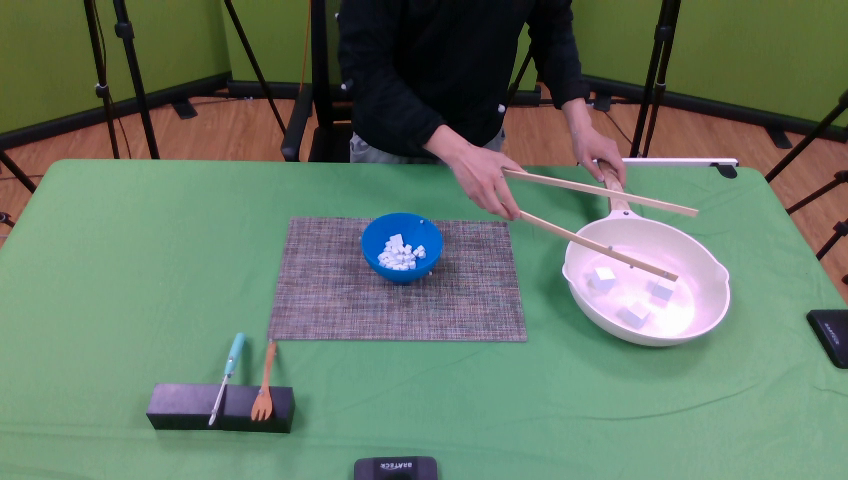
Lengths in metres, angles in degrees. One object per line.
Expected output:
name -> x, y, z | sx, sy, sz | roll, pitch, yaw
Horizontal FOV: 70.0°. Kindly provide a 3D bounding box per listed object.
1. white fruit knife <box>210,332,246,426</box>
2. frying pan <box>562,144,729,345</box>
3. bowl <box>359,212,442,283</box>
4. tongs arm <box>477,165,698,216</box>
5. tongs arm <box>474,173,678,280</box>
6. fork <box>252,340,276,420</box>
white fruit knife -> -0.301, 0.206, 0.930 | 0.016, 0.027, 0.206 | 5, 29, -7
frying pan -> 0.396, -0.008, 1.179 | 0.307, 0.103, 0.484 | 1, 55, -4
bowl -> -0.044, 0.026, 1.125 | 0.151, 0.077, 0.150 | 2, 46, -2
tongs arm -> 0.285, -0.087, 1.082 | 0.387, 0.028, 0.028 | 13, 74, 12
tongs arm -> 0.256, -0.027, 1.059 | 0.384, 0.026, 0.050 | 23, 72, 16
fork -> -0.242, 0.211, 0.932 | 0.028, 0.019, 0.206 | -8, 27, -5
